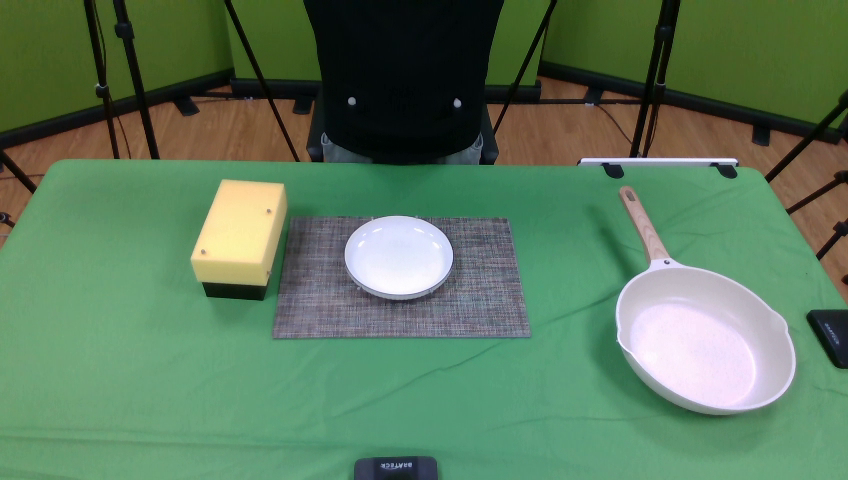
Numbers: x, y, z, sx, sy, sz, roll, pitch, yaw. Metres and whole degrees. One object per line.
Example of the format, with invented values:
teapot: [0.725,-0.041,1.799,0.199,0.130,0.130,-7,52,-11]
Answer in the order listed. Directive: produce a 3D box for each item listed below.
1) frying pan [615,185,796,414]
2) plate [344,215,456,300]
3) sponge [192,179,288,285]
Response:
frying pan: [0.450,0.087,1.092,0.307,0.103,0.484,-4,55,-10]
plate: [-0.045,0.036,1.146,0.208,0.039,0.206,2,46,-2]
sponge: [-0.327,-0.018,1.097,0.118,0.061,0.205,3,46,-1]
